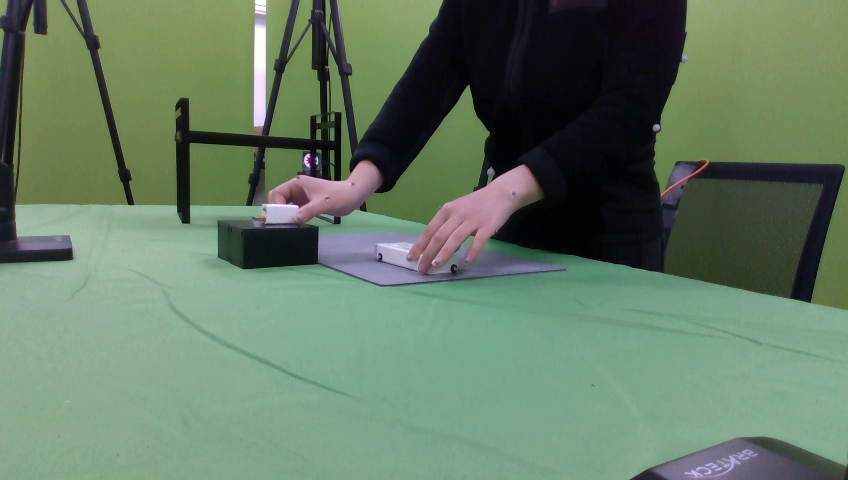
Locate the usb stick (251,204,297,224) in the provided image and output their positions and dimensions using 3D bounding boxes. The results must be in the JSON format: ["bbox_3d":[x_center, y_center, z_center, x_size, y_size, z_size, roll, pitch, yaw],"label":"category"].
[{"bbox_3d":[-0.200,-0.035,0.804,0.059,0.027,0.021,-7,9,-33],"label":"usb stick"}]

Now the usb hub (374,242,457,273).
[{"bbox_3d":[-0.014,0.021,0.797,0.050,0.025,0.124,-4,9,-36],"label":"usb hub"}]
